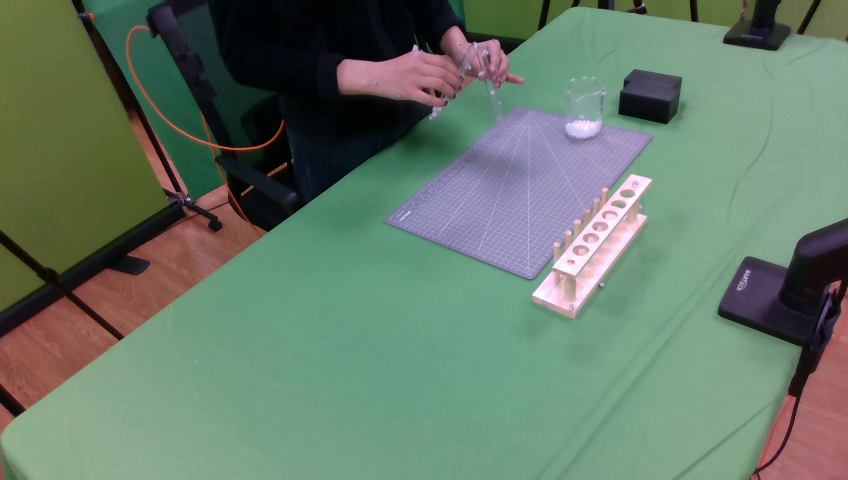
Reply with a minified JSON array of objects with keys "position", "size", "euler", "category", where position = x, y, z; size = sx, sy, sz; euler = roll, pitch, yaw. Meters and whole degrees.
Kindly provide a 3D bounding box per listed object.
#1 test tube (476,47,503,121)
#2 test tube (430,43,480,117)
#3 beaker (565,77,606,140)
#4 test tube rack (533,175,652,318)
[{"position":[0.119,-0.273,1.075],"size":[0.017,0.151,0.017],"euler":[-13,44,13],"category":"test tube"},{"position":[0.051,-0.265,1.000],"size":[0.017,0.017,0.150],"euler":[22,74,32],"category":"test tube"},{"position":[0.304,-0.247,1.153],"size":[0.073,0.101,0.084],"euler":[15,46,27],"category":"beaker"},{"position":[0.250,-0.001,0.889],"size":[0.066,0.085,0.243],"euler":[22,49,33],"category":"test tube rack"}]
